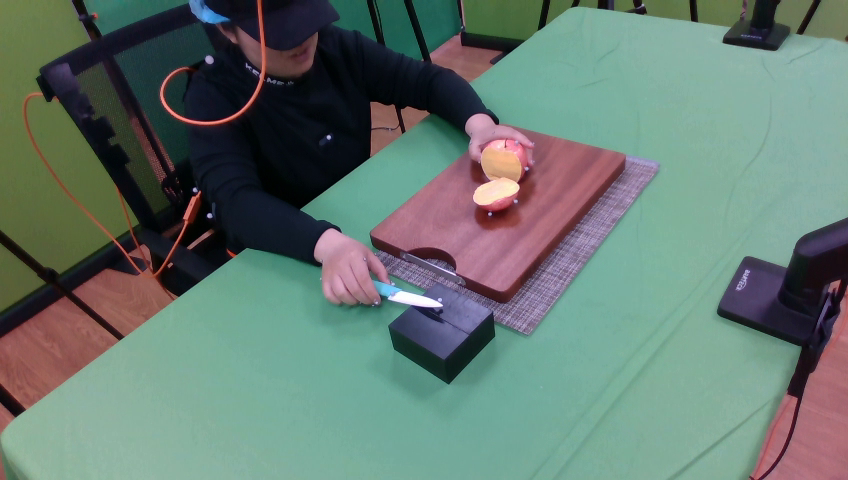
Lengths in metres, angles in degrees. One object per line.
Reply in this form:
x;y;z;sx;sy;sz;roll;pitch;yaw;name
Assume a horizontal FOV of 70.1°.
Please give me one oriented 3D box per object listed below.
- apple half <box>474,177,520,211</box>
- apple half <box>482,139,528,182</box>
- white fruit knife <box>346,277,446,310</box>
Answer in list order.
0.123;-0.070;0.994;0.081;0.033;0.081;-17;29;11;apple half
0.145;-0.138;1.039;0.080;0.075;0.053;14;41;31;apple half
-0.042;0.077;0.865;0.205;0.016;0.027;9;41;46;white fruit knife
